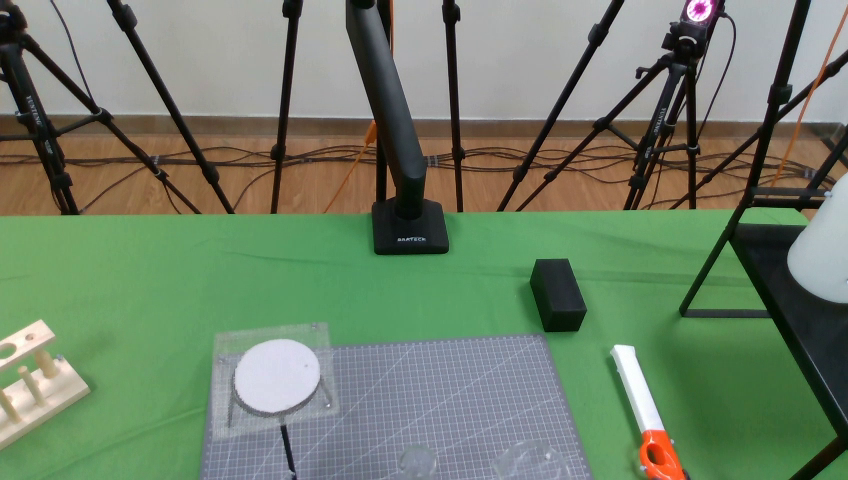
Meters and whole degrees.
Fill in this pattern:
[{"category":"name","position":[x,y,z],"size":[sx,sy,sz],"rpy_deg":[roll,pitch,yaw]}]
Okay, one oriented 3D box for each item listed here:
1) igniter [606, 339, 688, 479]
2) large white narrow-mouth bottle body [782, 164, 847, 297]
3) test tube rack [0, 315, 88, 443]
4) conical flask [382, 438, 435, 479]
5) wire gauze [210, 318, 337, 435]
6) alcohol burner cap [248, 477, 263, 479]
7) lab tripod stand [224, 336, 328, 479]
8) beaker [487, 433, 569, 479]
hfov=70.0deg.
[{"category":"igniter","position":[0.280,0.240,0.752],"size":[0.057,0.025,0.273],"rpy_deg":[8,43,-14]},{"category":"large white narrow-mouth bottle body","position":[0.493,-0.031,0.676],"size":[0.102,0.196,0.101],"rpy_deg":[4,45,-3]},{"category":"test tube rack","position":[-0.511,0.192,0.656],"size":[0.066,0.086,0.242],"rpy_deg":[35,51,25]},{"category":"conical flask","position":[-0.014,0.251,0.631],"size":[0.075,0.123,0.074],"rpy_deg":[4,45,-3]},{"category":"wire gauze","position":[-0.158,0.134,0.627],"size":[0.122,0.011,0.123],"rpy_deg":[-6,48,-13]},{"category":"alcohol burner cap","position":[-0.159,0.244,0.574],"size":[0.034,0.048,0.033],"rpy_deg":[1,49,-1]},{"category":"lab tripod stand","position":[-0.160,0.184,0.673],"size":[0.148,0.132,0.147],"rpy_deg":[5,45,-5]},{"category":"beaker","position":[0.102,0.264,0.650],"size":[0.084,0.101,0.073],"rpy_deg":[15,45,9]}]
